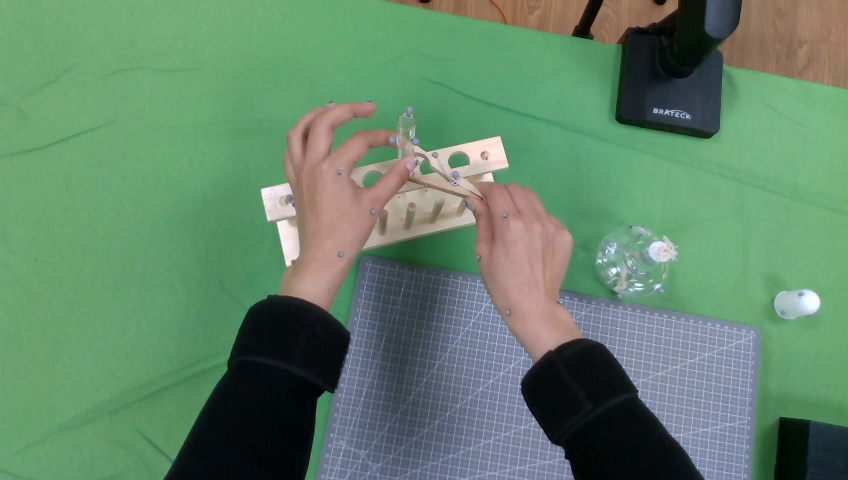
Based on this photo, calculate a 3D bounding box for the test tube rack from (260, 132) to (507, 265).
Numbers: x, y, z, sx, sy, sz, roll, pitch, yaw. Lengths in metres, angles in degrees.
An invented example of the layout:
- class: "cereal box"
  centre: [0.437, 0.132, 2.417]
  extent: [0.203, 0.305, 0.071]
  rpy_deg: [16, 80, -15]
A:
- class: "test tube rack"
  centre: [-0.036, -0.041, 0.629]
  extent: [0.242, 0.085, 0.066]
  rpy_deg: [-14, 79, -7]

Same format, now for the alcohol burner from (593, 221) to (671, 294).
- class: "alcohol burner"
  centre: [0.220, 0.015, 0.625]
  extent: [0.078, 0.119, 0.077]
  rpy_deg: [1, 79, -6]

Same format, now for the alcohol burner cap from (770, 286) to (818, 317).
- class: "alcohol burner cap"
  centre: [0.410, 0.067, 0.667]
  extent: [0.034, 0.048, 0.033]
  rpy_deg: [1, 77, -3]

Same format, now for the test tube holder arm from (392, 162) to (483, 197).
- class: "test tube holder arm"
  centre: [0.013, -0.056, 0.561]
  extent: [0.088, 0.015, 0.010]
  rpy_deg: [15, 85, 5]

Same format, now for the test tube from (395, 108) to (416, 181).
- class: "test tube"
  centre: [-0.018, -0.080, 0.553]
  extent: [0.017, 0.151, 0.017]
  rpy_deg: [1, 76, -3]

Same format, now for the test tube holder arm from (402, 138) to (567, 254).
- class: "test tube holder arm"
  centre: [0.055, -0.041, 0.557]
  extent: [0.178, 0.015, 0.013]
  rpy_deg: [33, 88, 5]
